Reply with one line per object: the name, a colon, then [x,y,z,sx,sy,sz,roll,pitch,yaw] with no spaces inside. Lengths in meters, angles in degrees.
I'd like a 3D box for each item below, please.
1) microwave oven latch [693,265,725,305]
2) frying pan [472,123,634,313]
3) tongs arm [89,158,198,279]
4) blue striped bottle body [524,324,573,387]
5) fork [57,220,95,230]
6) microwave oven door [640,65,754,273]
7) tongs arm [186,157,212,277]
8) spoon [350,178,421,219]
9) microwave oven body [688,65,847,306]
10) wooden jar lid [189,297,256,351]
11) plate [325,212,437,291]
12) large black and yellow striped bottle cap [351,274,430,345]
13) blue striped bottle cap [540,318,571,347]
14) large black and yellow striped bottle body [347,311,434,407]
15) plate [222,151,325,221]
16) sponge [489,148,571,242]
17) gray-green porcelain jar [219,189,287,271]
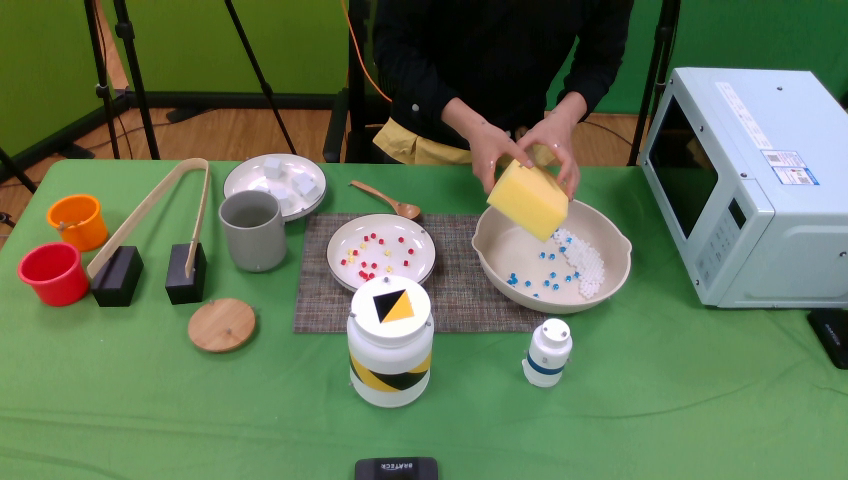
microwave oven latch: [0.523,0.082,1.116,0.030,0.029,0.078,2,46,-1]
frying pan: [0.235,-0.060,1.207,0.307,0.103,0.484,2,55,-6]
tongs arm: [-0.529,-0.057,1.164,0.028,0.028,0.385,1,36,8]
blue striped bottle body: [0.200,0.178,0.970,0.063,0.121,0.062,2,46,-2]
fork: [-0.624,-0.027,1.087,0.028,0.207,0.018,-3,92,-17]
microwave oven door: [0.524,-0.148,1.193,0.039,0.245,0.353,0,47,-3]
tongs arm: [-0.445,-0.058,1.168,0.051,0.026,0.382,-5,37,-6]
spoon: [-0.084,-0.093,1.272,0.193,0.022,0.041,31,69,25]
microwave oven body: [0.669,-0.111,1.176,0.326,0.261,0.439,0,46,-3]
wooden jar lid: [-0.342,0.145,1.033,0.108,0.021,0.107,2,45,-2]
plate: [-0.080,0.030,1.143,0.209,0.038,0.208,3,46,-3]
large black and yellow striped bottle cap: [-0.048,0.097,0.867,0.115,0.019,0.114,3,48,-3]
blue striped bottle cap: [0.203,0.142,0.933,0.044,0.021,0.044,3,49,-3]
large black and yellow striped bottle body: [-0.052,0.157,0.929,0.131,0.185,0.130,2,47,-2]
plate: [-0.310,-0.106,1.262,0.208,0.039,0.206,2,47,-2]
sponge: [0.189,-0.085,1.051,0.118,0.061,0.206,36,24,-1]
gray-green porcelain jar: [-0.310,-0.014,1.113,0.106,0.127,0.105,2,46,-2]
